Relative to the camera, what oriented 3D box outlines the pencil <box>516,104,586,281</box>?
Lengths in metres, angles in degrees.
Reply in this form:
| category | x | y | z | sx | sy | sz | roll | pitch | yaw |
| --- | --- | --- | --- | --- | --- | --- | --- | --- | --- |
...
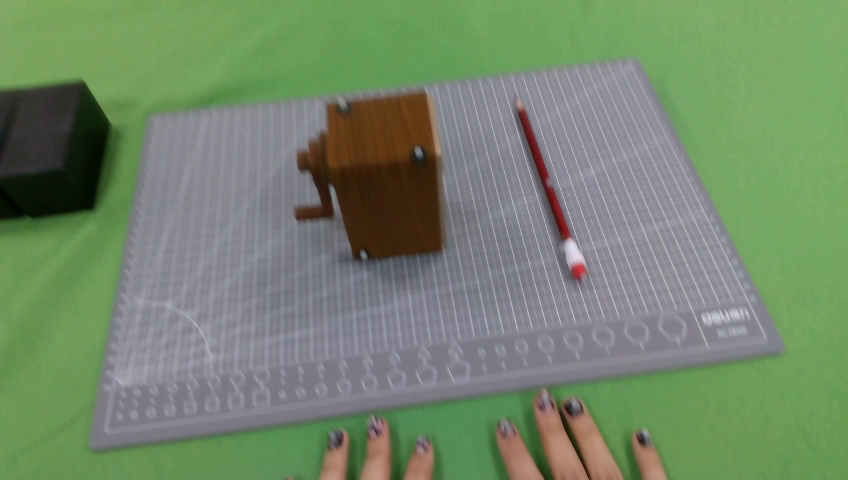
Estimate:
| category | x | y | z | sx | sy | sz | roll | pitch | yaw |
| --- | --- | --- | --- | --- | --- | --- | --- | --- | --- |
| pencil | 0.096 | -0.047 | 0.483 | 0.012 | 0.012 | 0.192 | -8 | 52 | -3 |

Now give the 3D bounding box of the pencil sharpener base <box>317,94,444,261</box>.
| category | x | y | z | sx | sy | sz | roll | pitch | yaw |
| --- | --- | --- | --- | --- | --- | --- | --- | --- | --- |
| pencil sharpener base | -0.027 | -0.039 | 0.421 | 0.077 | 0.108 | 0.060 | -7 | 55 | -1 |

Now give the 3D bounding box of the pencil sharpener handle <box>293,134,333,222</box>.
| category | x | y | z | sx | sy | sz | roll | pitch | yaw |
| --- | --- | --- | --- | --- | --- | --- | --- | --- | --- |
| pencil sharpener handle | -0.079 | -0.038 | 0.408 | 0.030 | 0.068 | 0.035 | -7 | 44 | -1 |
